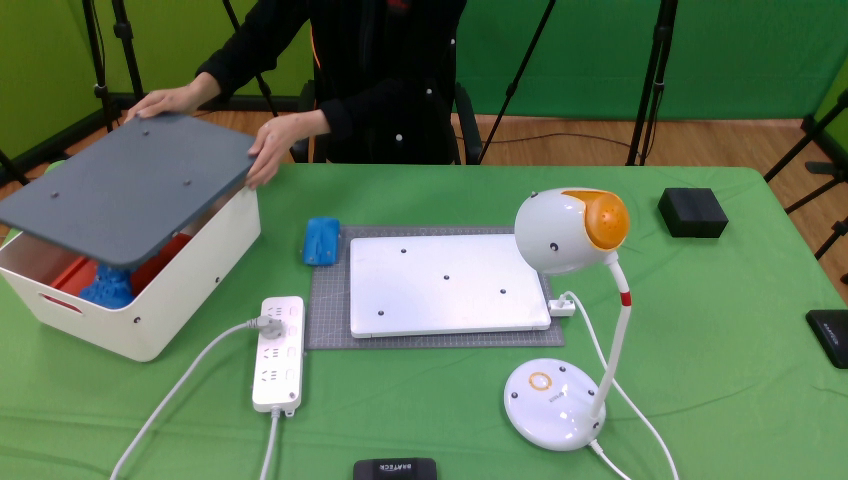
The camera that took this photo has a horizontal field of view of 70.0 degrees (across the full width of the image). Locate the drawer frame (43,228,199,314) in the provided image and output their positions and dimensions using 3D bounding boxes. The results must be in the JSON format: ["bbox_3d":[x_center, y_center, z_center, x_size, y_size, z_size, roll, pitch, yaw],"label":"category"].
[{"bbox_3d":[-0.488,0.068,1.042,0.201,0.083,0.212,15,53,13],"label":"drawer frame"}]

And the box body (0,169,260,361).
[{"bbox_3d":[-0.483,0.006,1.056,0.254,0.161,0.362,17,47,12],"label":"box body"}]

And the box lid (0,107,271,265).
[{"bbox_3d":[-0.449,-0.105,0.981,0.263,0.015,0.370,18,42,13],"label":"box lid"}]

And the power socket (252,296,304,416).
[{"bbox_3d":[-0.238,0.181,0.997,0.072,0.033,0.225,-3,47,-5],"label":"power socket"}]

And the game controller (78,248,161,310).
[{"bbox_3d":[-0.495,0.055,0.985,0.097,0.052,0.154,-6,45,-1],"label":"game controller"}]

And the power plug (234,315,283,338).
[{"bbox_3d":[-0.269,0.143,1.000,0.072,0.053,0.035,6,47,3],"label":"power plug"}]

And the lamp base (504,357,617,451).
[{"bbox_3d":[0.220,0.211,0.903,0.160,0.181,0.178,-33,59,-30],"label":"lamp base"}]

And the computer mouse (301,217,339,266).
[{"bbox_3d":[-0.200,-0.002,1.169,0.063,0.041,0.116,3,50,-3],"label":"computer mouse"}]

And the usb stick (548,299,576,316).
[{"bbox_3d":[0.239,0.121,1.083,0.059,0.027,0.021,-1,50,-2],"label":"usb stick"}]

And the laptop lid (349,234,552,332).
[{"bbox_3d":[0.040,0.071,1.118,0.357,0.013,0.240,0,44,-5],"label":"laptop lid"}]

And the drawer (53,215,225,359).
[{"bbox_3d":[-0.490,0.078,1.060,0.194,0.073,0.211,17,58,10],"label":"drawer"}]

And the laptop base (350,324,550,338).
[{"bbox_3d":[0.039,0.081,1.124,0.355,0.023,0.234,-2,43,-6],"label":"laptop base"}]

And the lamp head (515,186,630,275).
[{"bbox_3d":[0.188,-0.013,0.728,0.112,0.112,0.122,-25,9,-25],"label":"lamp head"}]
